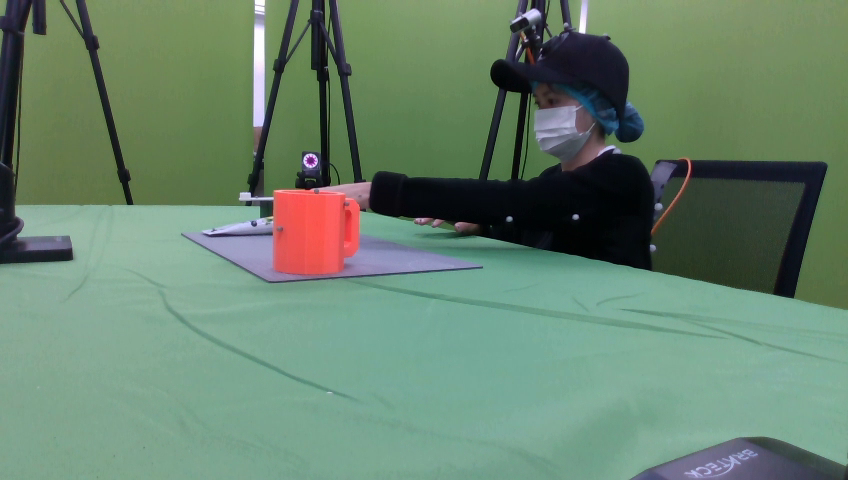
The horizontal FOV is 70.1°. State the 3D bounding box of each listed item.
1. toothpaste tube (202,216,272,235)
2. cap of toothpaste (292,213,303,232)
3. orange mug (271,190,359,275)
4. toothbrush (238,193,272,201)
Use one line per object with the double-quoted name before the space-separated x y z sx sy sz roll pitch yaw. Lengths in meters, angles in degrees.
"toothpaste tube" -0.296 -0.023 1.053 0.166 0.034 0.055 -7 5 -34
"cap of toothpaste" -0.229 -0.032 1.094 0.011 0.037 0.037 -7 12 -34
"orange mug" -0.131 -0.013 0.754 0.083 0.101 0.127 8 13 38
"toothbrush" -0.286 -0.087 1.236 0.183 0.016 0.014 -1 4 -30
